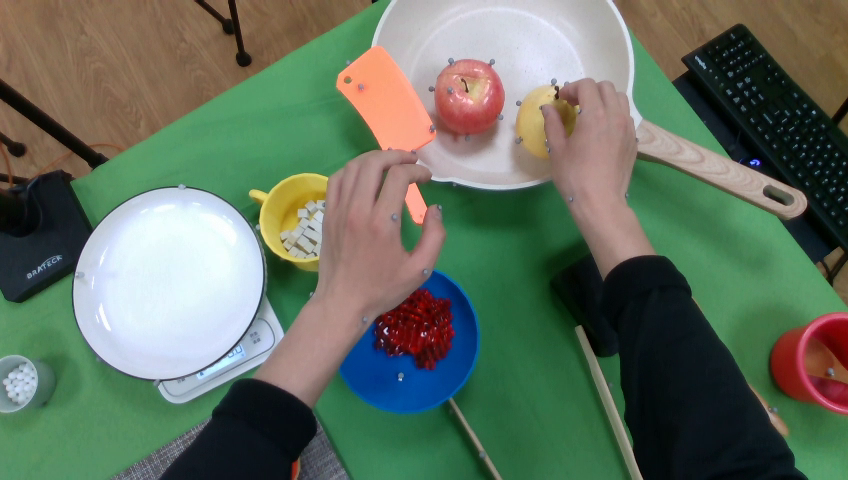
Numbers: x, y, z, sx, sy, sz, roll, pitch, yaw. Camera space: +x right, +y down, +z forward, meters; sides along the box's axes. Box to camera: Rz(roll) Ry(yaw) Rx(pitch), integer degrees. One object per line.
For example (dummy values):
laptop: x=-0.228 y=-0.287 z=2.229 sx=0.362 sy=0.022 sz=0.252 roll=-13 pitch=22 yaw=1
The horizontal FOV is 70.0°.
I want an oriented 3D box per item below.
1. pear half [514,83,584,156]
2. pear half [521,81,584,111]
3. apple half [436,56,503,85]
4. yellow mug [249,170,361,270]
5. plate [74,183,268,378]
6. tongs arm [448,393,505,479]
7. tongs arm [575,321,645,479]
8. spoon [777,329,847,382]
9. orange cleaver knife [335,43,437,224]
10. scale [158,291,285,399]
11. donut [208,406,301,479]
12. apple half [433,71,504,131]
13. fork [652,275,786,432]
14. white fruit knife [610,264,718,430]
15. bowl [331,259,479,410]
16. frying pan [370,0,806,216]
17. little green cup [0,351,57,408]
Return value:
pear half: x=0.136 y=-0.128 z=0.658 sx=0.076 sy=0.110 sz=0.055 roll=4 pitch=72 yaw=9
pear half: x=0.143 y=-0.159 z=0.677 sx=0.070 sy=0.088 sz=0.031 roll=3 pitch=74 yaw=9
apple half: x=0.054 y=-0.189 z=0.694 sx=0.081 sy=0.081 sz=0.032 roll=9 pitch=82 yaw=5
yellow mug: x=-0.139 y=-0.028 z=0.681 sx=0.130 sy=0.064 sz=0.099 roll=25 pitch=81 yaw=9
plate: x=-0.269 y=0.043 z=0.658 sx=0.209 sy=0.038 sz=0.208 roll=0 pitch=78 yaw=3
tongs arm: x=0.141 y=0.307 z=0.613 sx=0.051 sy=0.026 sz=0.383 roll=-30 pitch=79 yaw=-6
tongs arm: x=0.218 y=0.270 z=0.618 sx=0.028 sy=0.028 sz=0.385 roll=-15 pitch=79 yaw=-6
spoon: x=0.426 y=0.145 z=0.577 sx=0.041 sy=0.022 sz=0.191 roll=-36 pitch=34 yaw=-5
orange cleaver knife: x=-0.027 y=-0.119 z=0.656 sx=0.077 sy=0.012 sz=0.210 roll=-27 pitch=79 yaw=0
scale: x=-0.259 y=0.062 z=0.686 sx=0.149 sy=0.032 sz=0.200 roll=-27 pitch=79 yaw=-2
donut: x=-0.179 y=0.226 z=0.638 sx=0.099 sy=0.048 sz=0.098 roll=-1 pitch=80 yaw=5
apple half: x=0.048 y=-0.152 z=0.688 sx=0.081 sy=0.075 sz=0.053 roll=10 pitch=82 yaw=2
fork: x=0.309 y=0.119 z=0.629 sx=0.028 sy=0.018 sz=0.207 roll=-40 pitch=95 yaw=-7
white fruit knife: x=0.247 y=0.112 z=0.626 sx=0.016 sy=0.027 sz=0.207 roll=-33 pitch=93 yaw=-4
bowl: x=-0.017 y=0.101 z=0.643 sx=0.151 sy=0.077 sz=0.150 roll=0 pitch=79 yaw=2
frying pan: x=0.171 y=-0.143 z=0.669 sx=0.485 sy=0.103 sz=0.306 roll=30 pitch=82 yaw=17
little green cup: x=-0.445 y=0.156 z=0.674 sx=0.061 sy=0.039 sz=0.061 roll=-1 pitch=78 yaw=3
